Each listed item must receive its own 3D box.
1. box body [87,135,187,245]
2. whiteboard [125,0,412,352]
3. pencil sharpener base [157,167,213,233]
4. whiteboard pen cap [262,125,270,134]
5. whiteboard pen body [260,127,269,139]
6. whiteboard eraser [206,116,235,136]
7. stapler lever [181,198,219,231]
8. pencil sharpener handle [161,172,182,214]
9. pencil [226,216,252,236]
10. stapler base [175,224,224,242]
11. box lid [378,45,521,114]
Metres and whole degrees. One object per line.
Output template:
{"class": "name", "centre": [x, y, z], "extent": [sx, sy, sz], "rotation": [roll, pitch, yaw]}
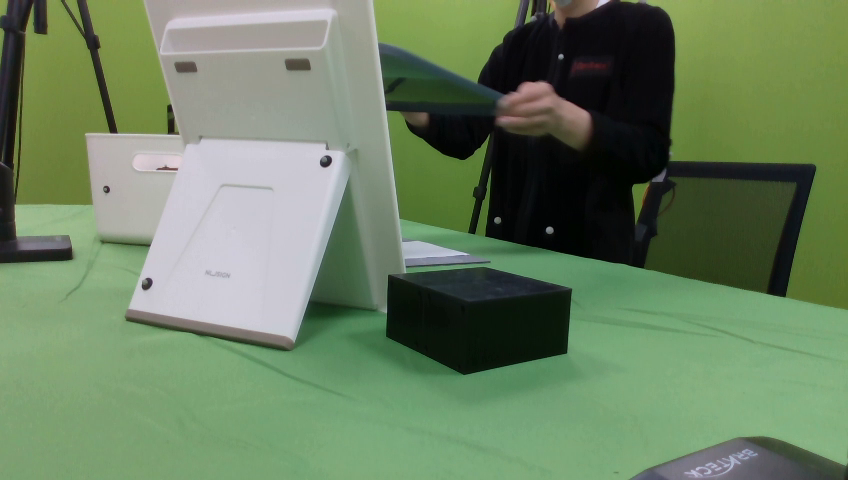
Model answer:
{"class": "box body", "centre": [-0.338, -0.088, 1.022], "extent": [0.254, 0.160, 0.364], "rotation": [3, 7, 9]}
{"class": "whiteboard", "centre": [-0.151, -0.049, 0.472], "extent": [0.216, 0.305, 0.144], "rotation": [6, 27, 24]}
{"class": "pencil sharpener base", "centre": [-0.405, -0.069, 1.025], "extent": [0.061, 0.107, 0.077], "rotation": [2, 8, 9]}
{"class": "whiteboard pen cap", "centre": [-0.349, -0.244, 1.337], "extent": [0.018, 0.018, 0.033], "rotation": [0, 2, -17]}
{"class": "whiteboard pen body", "centre": [-0.366, -0.247, 1.392], "extent": [0.017, 0.017, 0.140], "rotation": [0, 3, -17]}
{"class": "whiteboard eraser", "centre": [-0.450, -0.252, 1.335], "extent": [0.056, 0.042, 0.112], "rotation": [1, 7, -22]}
{"class": "stapler lever", "centre": [-0.347, -0.041, 0.941], "extent": [0.027, 0.040, 0.118], "rotation": [-1, 9, -3]}
{"class": "pencil sharpener handle", "centre": [-0.410, -0.075, 0.973], "extent": [0.036, 0.067, 0.031], "rotation": [-11, 6, 10]}
{"class": "pencil", "centre": [-0.334, -0.025, 1.092], "extent": [0.012, 0.012, 0.193], "rotation": [2, 11, -5]}
{"class": "stapler base", "centre": [-0.348, -0.015, 0.946], "extent": [0.041, 0.024, 0.130], "rotation": [-1, 7, -3]}
{"class": "box lid", "centre": [-0.069, -0.220, 0.864], "extent": [0.265, 0.015, 0.369], "rotation": [9, 4, -41]}
